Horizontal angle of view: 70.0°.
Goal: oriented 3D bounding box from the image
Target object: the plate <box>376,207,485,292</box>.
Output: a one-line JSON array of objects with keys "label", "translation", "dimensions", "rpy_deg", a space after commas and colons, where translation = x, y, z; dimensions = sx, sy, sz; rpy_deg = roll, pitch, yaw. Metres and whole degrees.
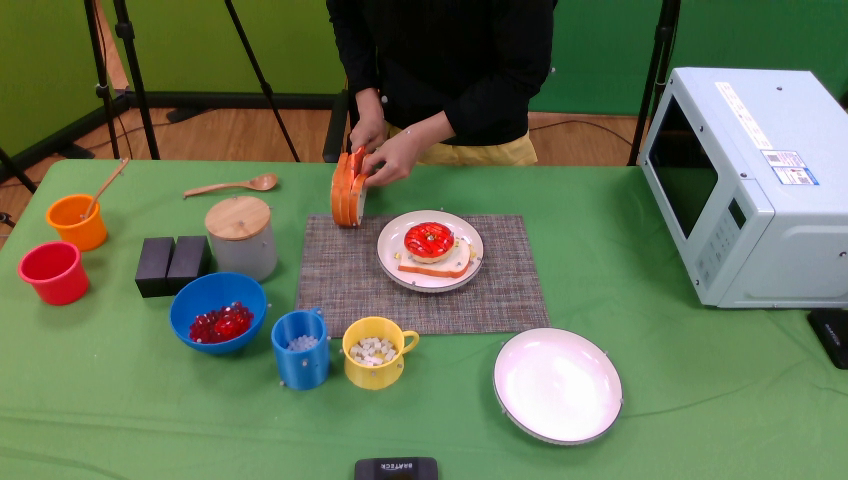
[{"label": "plate", "translation": [0.012, 0.021, 1.158], "dimensions": [0.209, 0.038, 0.208], "rpy_deg": [2, 47, -2]}]

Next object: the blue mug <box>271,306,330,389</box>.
[{"label": "blue mug", "translation": [-0.188, 0.163, 0.969], "dimensions": [0.082, 0.106, 0.116], "rpy_deg": [15, 47, 10]}]

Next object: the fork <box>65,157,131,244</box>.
[{"label": "fork", "translation": [-0.609, -0.074, 1.132], "dimensions": [0.207, 0.019, 0.028], "rpy_deg": [-52, 49, 10]}]

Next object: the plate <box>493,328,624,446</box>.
[{"label": "plate", "translation": [0.213, 0.236, 0.974], "dimensions": [0.208, 0.039, 0.206], "rpy_deg": [2, 46, -2]}]

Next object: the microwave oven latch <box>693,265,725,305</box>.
[{"label": "microwave oven latch", "translation": [0.522, 0.081, 1.115], "dimensions": [0.030, 0.029, 0.078], "rpy_deg": [2, 46, -1]}]

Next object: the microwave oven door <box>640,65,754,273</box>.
[{"label": "microwave oven door", "translation": [0.522, -0.147, 1.193], "dimensions": [0.039, 0.245, 0.353], "rpy_deg": [0, 47, -3]}]

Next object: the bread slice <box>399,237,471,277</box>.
[{"label": "bread slice", "translation": [0.025, 0.026, 1.160], "dimensions": [0.131, 0.019, 0.104], "rpy_deg": [6, 47, 7]}]

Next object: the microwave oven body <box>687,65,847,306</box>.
[{"label": "microwave oven body", "translation": [0.669, -0.111, 1.176], "dimensions": [0.326, 0.261, 0.439], "rpy_deg": [0, 46, -3]}]

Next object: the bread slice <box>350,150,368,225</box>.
[{"label": "bread slice", "translation": [-0.131, -0.098, 1.225], "dimensions": [0.018, 0.107, 0.133], "rpy_deg": [5, 50, 2]}]

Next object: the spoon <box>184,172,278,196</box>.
[{"label": "spoon", "translation": [-0.406, -0.116, 1.275], "dimensions": [0.194, 0.022, 0.041], "rpy_deg": [-8, 66, -12]}]

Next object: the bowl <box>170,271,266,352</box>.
[{"label": "bowl", "translation": [-0.334, 0.132, 1.006], "dimensions": [0.151, 0.077, 0.150], "rpy_deg": [2, 46, -2]}]

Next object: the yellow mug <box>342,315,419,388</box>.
[{"label": "yellow mug", "translation": [-0.068, 0.177, 0.990], "dimensions": [0.131, 0.064, 0.099], "rpy_deg": [-15, 50, -19]}]

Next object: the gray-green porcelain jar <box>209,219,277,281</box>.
[{"label": "gray-green porcelain jar", "translation": [-0.323, 0.007, 1.092], "dimensions": [0.106, 0.127, 0.105], "rpy_deg": [2, 46, -2]}]

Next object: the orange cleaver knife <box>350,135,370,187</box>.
[{"label": "orange cleaver knife", "translation": [-0.134, -0.168, 1.268], "dimensions": [0.012, 0.077, 0.210], "rpy_deg": [5, 24, 2]}]

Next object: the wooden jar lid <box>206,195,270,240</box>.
[{"label": "wooden jar lid", "translation": [-0.319, -0.036, 1.046], "dimensions": [0.108, 0.021, 0.107], "rpy_deg": [1, 44, 0]}]

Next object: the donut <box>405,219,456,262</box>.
[{"label": "donut", "translation": [0.012, 0.000, 1.140], "dimensions": [0.099, 0.048, 0.098], "rpy_deg": [0, 44, 0]}]
